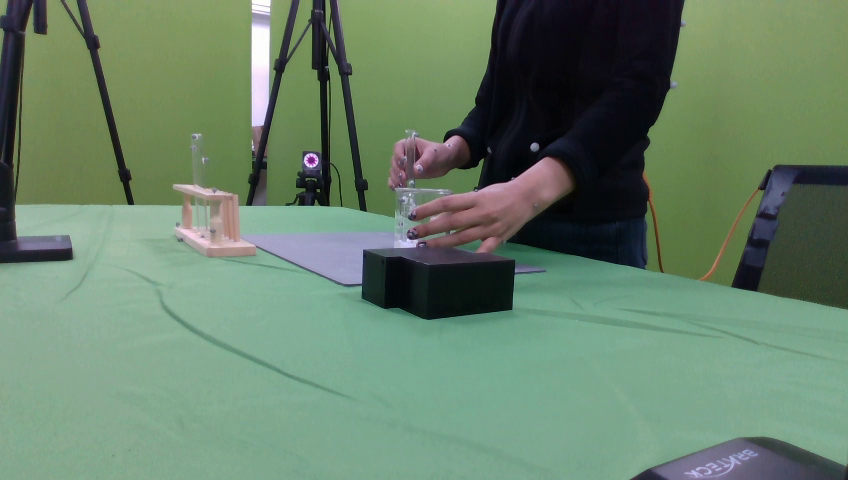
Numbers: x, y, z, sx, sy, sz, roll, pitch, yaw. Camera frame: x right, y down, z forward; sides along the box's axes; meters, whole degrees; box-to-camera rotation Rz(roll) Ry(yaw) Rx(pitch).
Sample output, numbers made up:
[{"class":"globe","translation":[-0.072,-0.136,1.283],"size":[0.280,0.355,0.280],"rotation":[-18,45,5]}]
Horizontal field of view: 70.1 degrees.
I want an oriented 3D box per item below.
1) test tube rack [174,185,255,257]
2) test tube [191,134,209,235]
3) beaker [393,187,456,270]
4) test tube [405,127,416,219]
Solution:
[{"class":"test tube rack","translation":[-0.324,-0.035,0.922],"size":[0.067,0.085,0.241],"rotation":[-2,9,-32]},{"class":"test tube","translation":[-0.332,-0.082,0.897],"size":[0.017,0.150,0.017],"rotation":[-2,6,0]},{"class":"beaker","translation":[-0.004,-0.016,0.753],"size":[0.074,0.100,0.083],"rotation":[-2,6,-40]},{"class":"test tube","translation":[-0.022,-0.104,0.954],"size":[0.017,0.150,0.017],"rotation":[1,23,0]}]
